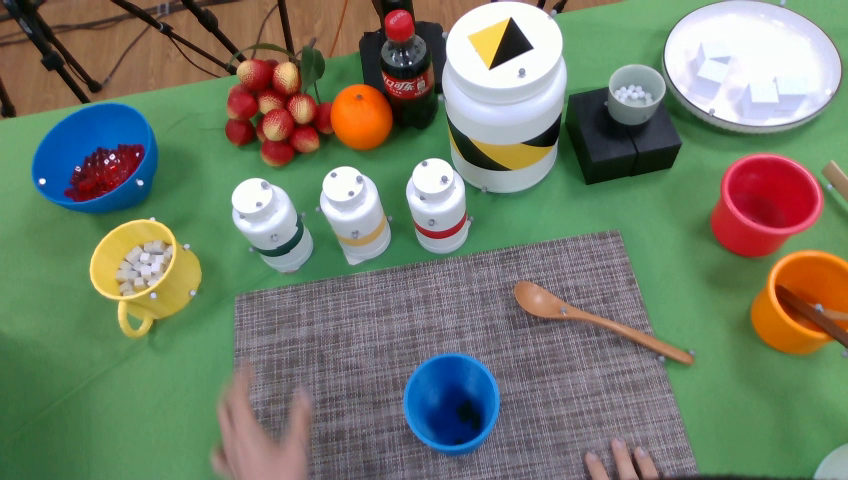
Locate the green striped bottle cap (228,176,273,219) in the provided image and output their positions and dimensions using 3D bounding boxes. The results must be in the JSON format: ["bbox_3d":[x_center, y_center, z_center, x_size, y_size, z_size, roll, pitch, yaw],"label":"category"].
[{"bbox_3d":[-0.181,-0.044,0.631,0.044,0.020,0.044,-2,62,5],"label":"green striped bottle cap"}]

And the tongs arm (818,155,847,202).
[{"bbox_3d":[0.540,0.058,0.603,0.051,0.027,0.381,-21,64,-6],"label":"tongs arm"}]

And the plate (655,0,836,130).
[{"bbox_3d":[0.395,-0.219,0.758,0.209,0.038,0.207,-2,64,5],"label":"plate"}]

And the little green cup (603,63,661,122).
[{"bbox_3d":[0.235,-0.167,0.692,0.061,0.039,0.061,-1,60,3],"label":"little green cup"}]

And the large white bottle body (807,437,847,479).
[{"bbox_3d":[0.399,0.202,0.462,0.130,0.186,0.129,-3,63,6],"label":"large white bottle body"}]

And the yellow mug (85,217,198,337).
[{"bbox_3d":[-0.323,0.046,0.691,0.100,0.064,0.130,-1,64,5],"label":"yellow mug"}]

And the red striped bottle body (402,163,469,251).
[{"bbox_3d":[0.013,-0.040,0.666,0.063,0.121,0.062,-5,61,9],"label":"red striped bottle body"}]

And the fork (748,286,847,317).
[{"bbox_3d":[0.396,0.071,0.550,0.028,0.019,0.206,-47,23,-15],"label":"fork"}]

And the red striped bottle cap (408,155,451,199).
[{"bbox_3d":[0.005,-0.065,0.620,0.044,0.018,0.044,-1,61,2],"label":"red striped bottle cap"}]

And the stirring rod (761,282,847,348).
[{"bbox_3d":[0.366,0.075,0.559,0.014,0.006,0.175,-8,19,0],"label":"stirring rod"}]

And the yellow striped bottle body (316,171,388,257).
[{"bbox_3d":[-0.081,-0.034,0.673,0.063,0.121,0.062,-3,63,6],"label":"yellow striped bottle body"}]

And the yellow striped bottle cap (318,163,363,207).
[{"bbox_3d":[-0.087,-0.058,0.627,0.044,0.019,0.044,-2,65,5],"label":"yellow striped bottle cap"}]

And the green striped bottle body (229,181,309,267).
[{"bbox_3d":[-0.174,-0.021,0.678,0.063,0.120,0.062,-3,63,5],"label":"green striped bottle body"}]

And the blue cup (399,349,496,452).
[{"bbox_3d":[0.025,0.159,0.570,0.092,0.101,0.092,-2,62,4],"label":"blue cup"}]

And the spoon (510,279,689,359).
[{"bbox_3d":[0.182,0.085,0.635,0.193,0.022,0.041,19,42,15],"label":"spoon"}]

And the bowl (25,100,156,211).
[{"bbox_3d":[-0.401,-0.092,0.762,0.151,0.077,0.150,-2,63,5],"label":"bowl"}]

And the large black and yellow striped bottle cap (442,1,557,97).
[{"bbox_3d":[0.074,-0.192,0.604,0.115,0.019,0.114,-3,62,6],"label":"large black and yellow striped bottle cap"}]

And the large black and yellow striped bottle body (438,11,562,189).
[{"bbox_3d":[0.084,-0.156,0.680,0.130,0.185,0.129,-3,63,6],"label":"large black and yellow striped bottle body"}]
